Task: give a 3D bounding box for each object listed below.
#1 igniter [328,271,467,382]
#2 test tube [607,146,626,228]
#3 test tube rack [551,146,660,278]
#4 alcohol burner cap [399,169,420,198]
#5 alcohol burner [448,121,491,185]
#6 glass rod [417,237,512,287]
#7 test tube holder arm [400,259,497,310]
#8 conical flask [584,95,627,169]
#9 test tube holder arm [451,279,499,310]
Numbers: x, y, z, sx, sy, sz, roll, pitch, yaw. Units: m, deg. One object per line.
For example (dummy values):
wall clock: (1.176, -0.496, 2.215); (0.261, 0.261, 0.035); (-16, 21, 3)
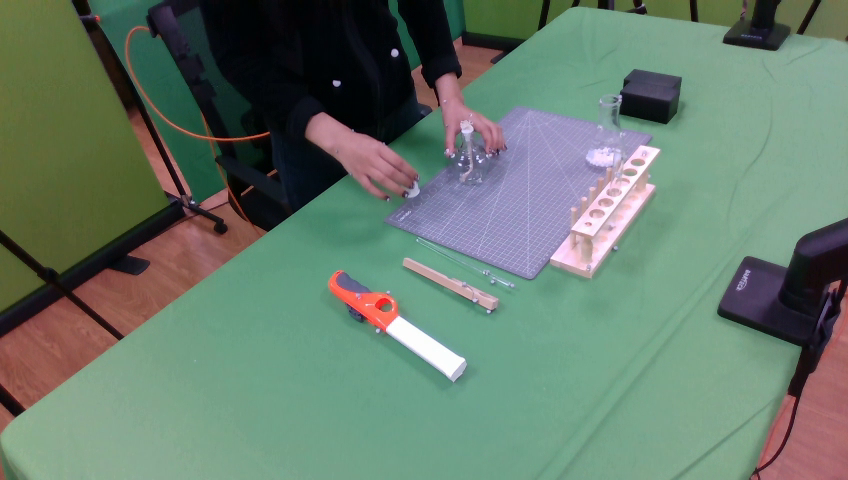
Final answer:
igniter: (-0.049, 0.114, 0.854); (0.274, 0.025, 0.057); (30, 63, 37)
test tube: (0.283, -0.074, 0.892); (0.017, 0.151, 0.017); (-5, 44, 6)
test tube rack: (0.286, -0.053, 0.943); (0.066, 0.085, 0.243); (21, 49, 32)
alcohol burner cap: (-0.026, -0.097, 1.020); (0.034, 0.048, 0.033); (-6, 41, 6)
alcohol burner: (0.081, -0.160, 1.083); (0.078, 0.119, 0.077); (-4, 39, 4)
glass rod: (0.059, 0.032, 0.945); (0.198, 0.008, 0.008); (27, 52, 38)
test tube holder arm: (0.033, 0.064, 0.902); (0.177, 0.015, 0.013); (23, 13, 32)
conical flask: (0.323, -0.192, 1.066); (0.075, 0.122, 0.075); (-6, 40, 5)
test tube holder arm: (0.071, 0.079, 0.882); (0.087, 0.015, 0.010); (23, 14, 34)
